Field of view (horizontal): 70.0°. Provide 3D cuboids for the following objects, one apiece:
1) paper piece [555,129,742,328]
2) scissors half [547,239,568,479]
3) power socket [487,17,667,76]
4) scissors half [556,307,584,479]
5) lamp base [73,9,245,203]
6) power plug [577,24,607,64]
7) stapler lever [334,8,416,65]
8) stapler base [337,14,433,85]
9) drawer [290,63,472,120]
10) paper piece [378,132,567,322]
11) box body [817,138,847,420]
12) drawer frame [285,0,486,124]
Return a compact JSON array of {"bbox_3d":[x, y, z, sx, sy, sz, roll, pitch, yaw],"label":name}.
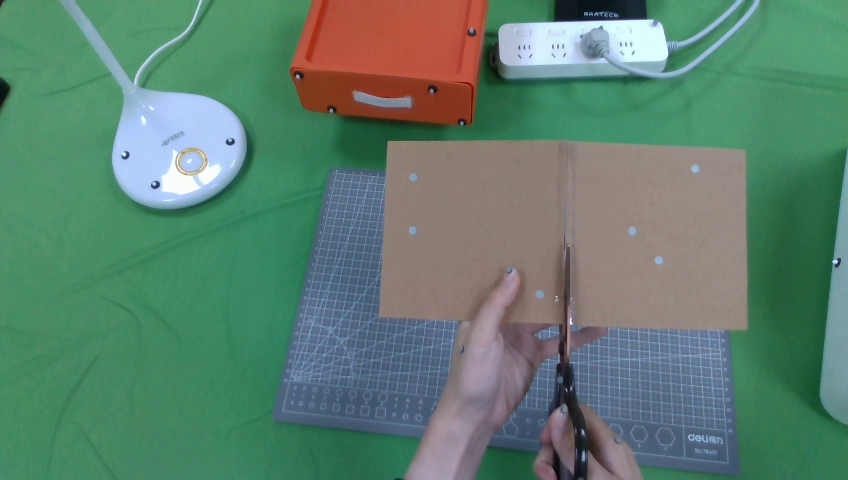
[{"bbox_3d":[0.165,-0.008,0.439,0.135,0.004,0.135,5,86,-2],"label":"paper piece"},{"bbox_3d":[0.099,0.087,0.439,0.013,0.040,0.175,2,98,4],"label":"scissors half"},{"bbox_3d":[0.195,-0.247,0.772,0.227,0.033,0.071,0,65,2],"label":"power socket"},{"bbox_3d":[0.098,0.082,0.416,0.013,0.040,0.173,3,63,-1],"label":"scissors half"},{"bbox_3d":[-0.311,-0.155,0.670,0.178,0.182,0.160,37,71,21],"label":"lamp base"},{"bbox_3d":[0.203,-0.231,0.739,0.035,0.053,0.072,9,66,7],"label":"power plug"},{"bbox_3d":[-0.059,-0.237,0.695,0.117,0.040,0.027,35,87,21],"label":"stapler lever"},{"bbox_3d":[-0.050,-0.231,0.719,0.129,0.024,0.041,35,87,20],"label":"stapler base"},{"bbox_3d":[-0.032,-0.249,0.708,0.194,0.074,0.210,6,65,6],"label":"drawer"},{"bbox_3d":[0.034,-0.011,0.445,0.136,0.009,0.138,2,87,11],"label":"paper piece"},{"bbox_3d":[0.538,0.021,0.558,0.253,0.161,0.362,18,67,11],"label":"box body"},{"bbox_3d":[-0.034,-0.251,0.709,0.201,0.083,0.212,6,64,6],"label":"drawer frame"}]
